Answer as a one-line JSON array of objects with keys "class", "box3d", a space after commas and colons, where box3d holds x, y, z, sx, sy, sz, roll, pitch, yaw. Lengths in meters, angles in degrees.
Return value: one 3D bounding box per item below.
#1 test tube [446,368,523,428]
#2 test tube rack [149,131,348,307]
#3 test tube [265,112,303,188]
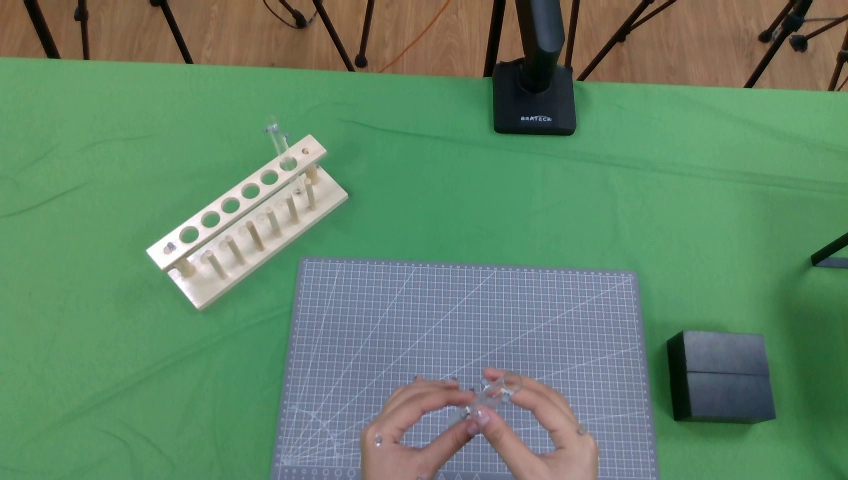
[{"class": "test tube", "box3d": [0.044, 0.130, 0.488, 0.017, 0.151, 0.017, 7, 61, -13]}, {"class": "test tube rack", "box3d": [-0.214, -0.028, 0.772, 0.242, 0.086, 0.066, -40, 73, -17]}, {"class": "test tube", "box3d": [-0.172, -0.107, 0.753, 0.017, 0.151, 0.017, 0, 64, 1]}]
